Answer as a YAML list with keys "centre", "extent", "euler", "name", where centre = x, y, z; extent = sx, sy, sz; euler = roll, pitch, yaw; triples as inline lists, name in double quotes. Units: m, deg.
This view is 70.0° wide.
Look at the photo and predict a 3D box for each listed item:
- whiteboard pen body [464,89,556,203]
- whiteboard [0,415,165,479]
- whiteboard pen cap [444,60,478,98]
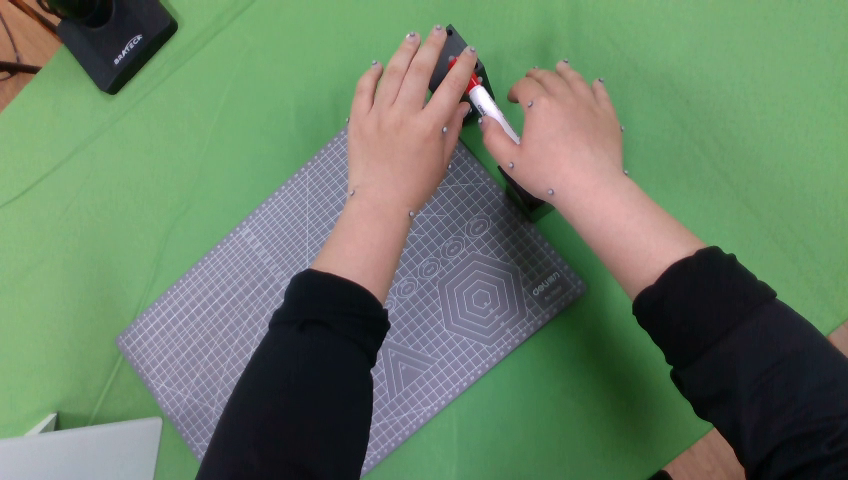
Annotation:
- centre: [0.067, -0.090, 0.521]
  extent: [0.017, 0.017, 0.140]
  euler: [-37, 80, 8]
  name: "whiteboard pen body"
- centre: [-0.449, 0.282, 0.594]
  extent: [0.143, 0.308, 0.217]
  euler: [10, 89, 32]
  name: "whiteboard"
- centre: [0.033, -0.140, 0.528]
  extent: [0.017, 0.017, 0.032]
  euler: [-35, 83, 8]
  name: "whiteboard pen cap"
